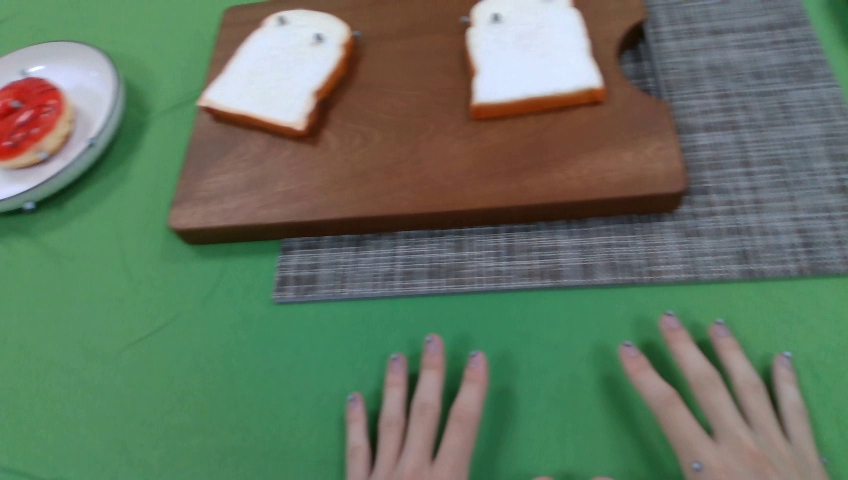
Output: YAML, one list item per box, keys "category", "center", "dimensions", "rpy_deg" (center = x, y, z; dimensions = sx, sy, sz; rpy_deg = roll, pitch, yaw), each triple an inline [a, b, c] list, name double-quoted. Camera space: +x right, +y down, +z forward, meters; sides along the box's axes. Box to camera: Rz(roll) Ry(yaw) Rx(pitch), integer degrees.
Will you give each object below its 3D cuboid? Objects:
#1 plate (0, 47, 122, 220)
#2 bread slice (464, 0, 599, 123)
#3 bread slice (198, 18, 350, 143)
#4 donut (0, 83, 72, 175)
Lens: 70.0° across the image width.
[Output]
- category: "plate"
  center: [-0.388, -0.101, 0.588]
  dimensions: [0.209, 0.038, 0.207]
  rpy_deg: [-5, 59, 8]
- category: "bread slice"
  center: [0.083, -0.157, 0.511]
  dimensions: [0.105, 0.019, 0.130]
  rpy_deg: [-7, 60, 5]
- category: "bread slice"
  center: [-0.127, -0.147, 0.544]
  dimensions: [0.106, 0.018, 0.133]
  rpy_deg: [13, 64, 18]
- category: "donut"
  center: [-0.385, -0.106, 0.577]
  dimensions: [0.099, 0.049, 0.098]
  rpy_deg: [-6, 60, 10]
